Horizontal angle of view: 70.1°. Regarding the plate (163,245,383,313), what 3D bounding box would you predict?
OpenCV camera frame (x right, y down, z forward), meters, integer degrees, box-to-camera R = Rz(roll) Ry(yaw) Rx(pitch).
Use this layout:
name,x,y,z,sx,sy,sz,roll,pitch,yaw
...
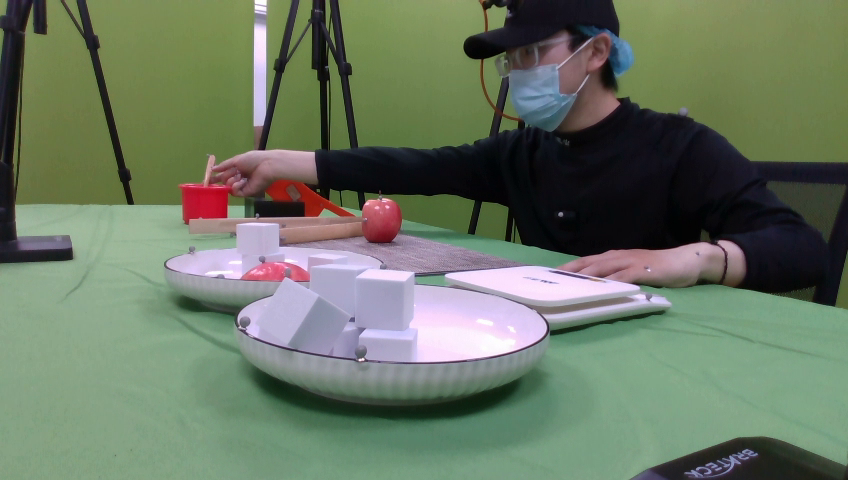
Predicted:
name,x,y,z,sx,sy,sz,roll,pitch,yaw
plate,-0.145,0.038,0.600,0.209,0.038,0.209,2,8,0

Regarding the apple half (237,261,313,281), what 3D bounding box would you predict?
name,x,y,z,sx,sy,sz,roll,pitch,yaw
apple half,-0.141,0.036,0.578,0.081,0.033,0.081,2,11,0

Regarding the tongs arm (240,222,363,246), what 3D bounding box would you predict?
name,x,y,z,sx,sy,sz,roll,pitch,yaw
tongs arm,-0.159,-0.017,1.034,0.028,0.028,0.389,2,5,33

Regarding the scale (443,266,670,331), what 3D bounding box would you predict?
name,x,y,z,sx,sy,sz,roll,pitch,yaw
scale,0.131,0.052,0.603,0.202,0.031,0.148,-2,9,-37

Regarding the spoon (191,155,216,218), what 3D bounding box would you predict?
name,x,y,z,sx,sy,sz,roll,pitch,yaw
spoon,-0.437,-0.108,1.222,0.042,0.021,0.193,-2,52,-5

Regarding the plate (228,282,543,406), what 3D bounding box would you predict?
name,x,y,z,sx,sy,sz,roll,pitch,yaw
plate,-0.025,0.067,0.413,0.208,0.039,0.207,3,7,0

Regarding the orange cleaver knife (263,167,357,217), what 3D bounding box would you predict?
name,x,y,z,sx,sy,sz,roll,pitch,yaw
orange cleaver knife,-0.240,-0.078,1.294,0.212,0.077,0.012,32,-7,-26

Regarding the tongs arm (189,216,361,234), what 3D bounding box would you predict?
name,x,y,z,sx,sy,sz,roll,pitch,yaw
tongs arm,-0.220,-0.028,1.088,0.387,0.026,0.050,-3,8,-43

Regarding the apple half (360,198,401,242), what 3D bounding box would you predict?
name,x,y,z,sx,sy,sz,roll,pitch,yaw
apple half,-0.066,-0.032,1.014,0.053,0.074,0.081,9,6,21
